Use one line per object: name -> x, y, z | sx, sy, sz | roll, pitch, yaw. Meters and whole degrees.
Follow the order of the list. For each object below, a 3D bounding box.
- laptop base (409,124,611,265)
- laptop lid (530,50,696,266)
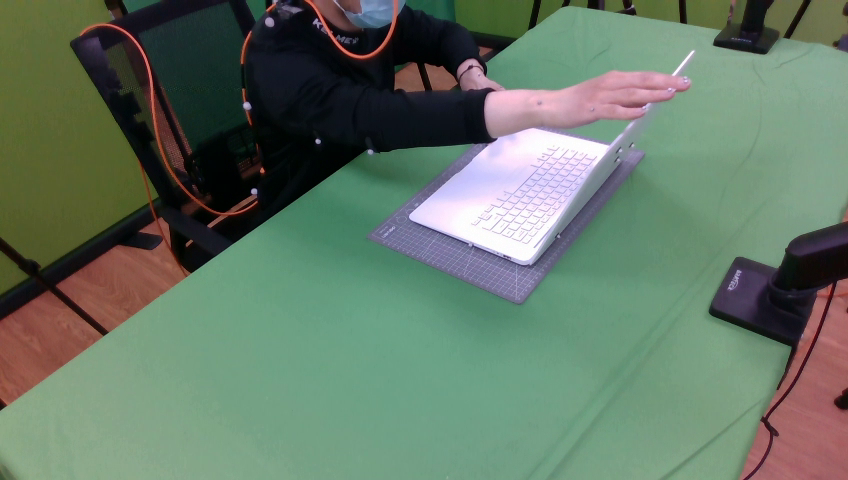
laptop base -> 0.168, -0.095, 1.057 | 0.233, 0.023, 0.355 | 20, 47, 32
laptop lid -> 0.286, -0.124, 0.906 | 0.013, 0.242, 0.357 | 37, 53, 13
